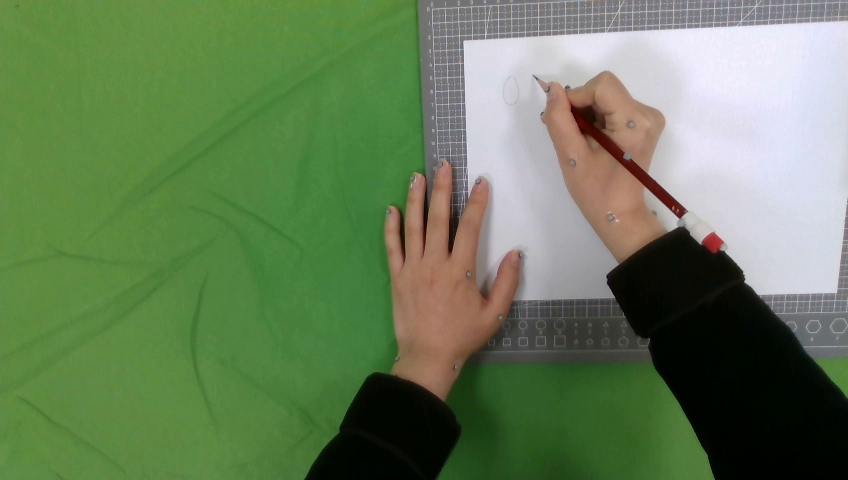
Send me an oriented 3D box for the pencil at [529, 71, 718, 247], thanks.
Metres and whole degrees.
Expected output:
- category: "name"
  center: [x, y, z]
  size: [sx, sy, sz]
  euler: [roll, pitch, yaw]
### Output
- category: "pencil"
  center: [0.127, -0.064, 0.415]
  size: [0.012, 0.012, 0.192]
  euler: [-42, 57, 11]
